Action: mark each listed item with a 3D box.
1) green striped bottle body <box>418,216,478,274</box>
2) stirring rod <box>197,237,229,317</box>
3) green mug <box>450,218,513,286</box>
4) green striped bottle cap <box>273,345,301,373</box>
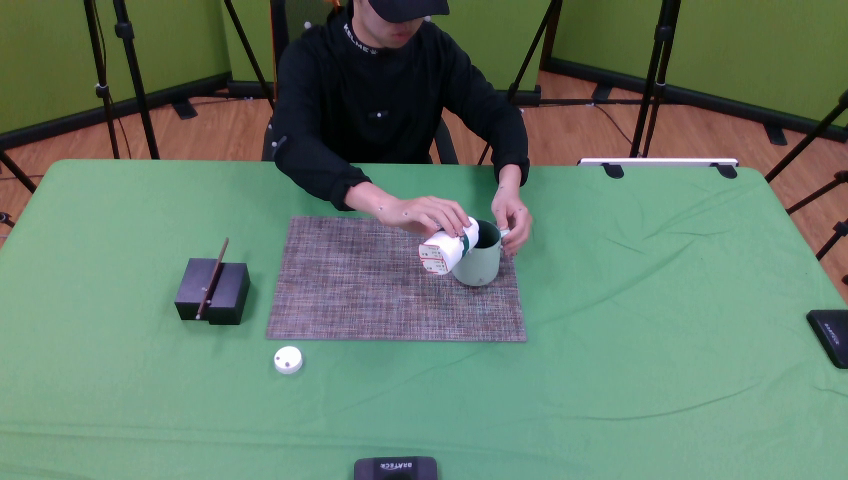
[{"bbox_3d":[0.046,0.002,1.015,0.063,0.063,0.119,27,41,20],"label":"green striped bottle body"},{"bbox_3d":[-0.363,0.060,1.047,0.006,0.014,0.175,7,46,-3],"label":"stirring rod"},{"bbox_3d":[0.110,0.018,1.126,0.125,0.105,0.092,-19,50,-21],"label":"green mug"},{"bbox_3d":[-0.225,0.195,0.997,0.044,0.020,0.044,2,50,-2],"label":"green striped bottle cap"}]
